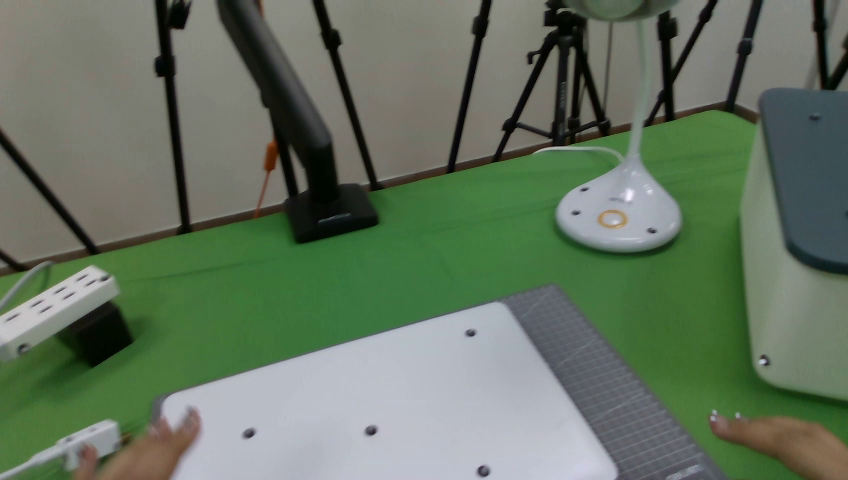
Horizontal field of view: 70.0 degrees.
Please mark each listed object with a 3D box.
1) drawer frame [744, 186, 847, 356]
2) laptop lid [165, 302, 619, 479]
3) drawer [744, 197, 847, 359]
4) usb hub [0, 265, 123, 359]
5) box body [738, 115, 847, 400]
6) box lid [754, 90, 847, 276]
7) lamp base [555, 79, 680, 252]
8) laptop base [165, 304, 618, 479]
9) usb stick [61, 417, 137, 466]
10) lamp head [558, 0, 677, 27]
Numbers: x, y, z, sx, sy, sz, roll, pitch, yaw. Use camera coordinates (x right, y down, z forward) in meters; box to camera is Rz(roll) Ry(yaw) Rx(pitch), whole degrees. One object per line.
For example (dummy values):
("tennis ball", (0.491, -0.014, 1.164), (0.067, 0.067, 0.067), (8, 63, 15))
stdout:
("drawer frame", (0.455, 0.031, 0.629), (0.201, 0.083, 0.212), (6, 33, 17))
("laptop lid", (-0.042, 0.167, 0.529), (0.357, 0.013, 0.239), (-13, 37, -12))
("drawer", (0.454, 0.036, 0.629), (0.194, 0.074, 0.210), (5, 33, 18))
("usb hub", (-0.389, 0.073, 0.638), (0.049, 0.025, 0.125), (20, 41, 29))
("box body", (0.473, -0.001, 0.615), (0.253, 0.162, 0.362), (8, 35, 19))
("box lid", (0.462, -0.062, 0.562), (0.262, 0.015, 0.369), (8, 36, 18))
("lamp base", (0.256, -0.103, 0.777), (0.160, 0.182, 0.178), (8, 34, 18))
("laptop base", (-0.043, 0.176, 0.537), (0.355, 0.023, 0.233), (-14, 38, -14))
("usb stick", (-0.291, 0.178, 0.548), (0.021, 0.027, 0.059), (-2, 6, 37))
("lamp head", (0.184, -0.277, 0.563), (0.112, 0.113, 0.122), (5, 75, 15))
